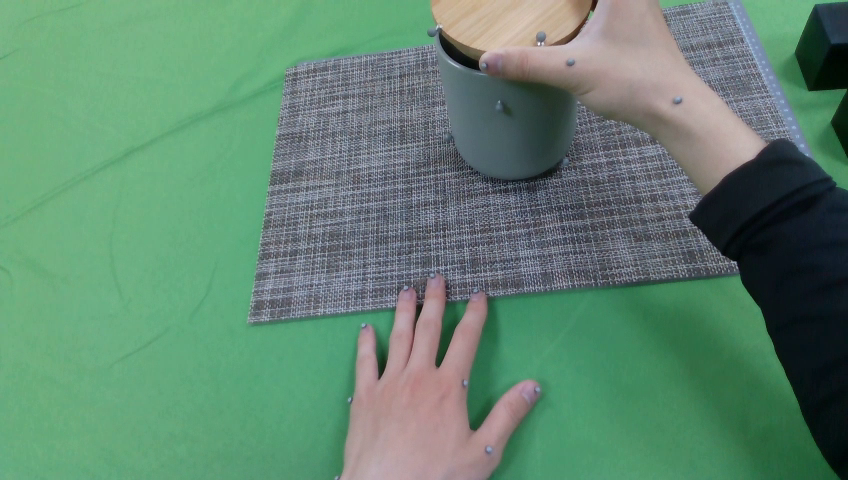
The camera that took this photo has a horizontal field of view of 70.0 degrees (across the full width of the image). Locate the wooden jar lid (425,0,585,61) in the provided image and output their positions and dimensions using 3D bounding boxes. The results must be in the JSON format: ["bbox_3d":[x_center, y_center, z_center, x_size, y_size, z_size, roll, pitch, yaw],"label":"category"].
[{"bbox_3d":[0.055,-0.162,0.414,0.108,0.021,0.107,-3,63,5],"label":"wooden jar lid"}]

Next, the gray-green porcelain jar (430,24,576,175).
[{"bbox_3d":[0.066,-0.123,0.484,0.106,0.128,0.105,-5,57,8],"label":"gray-green porcelain jar"}]
